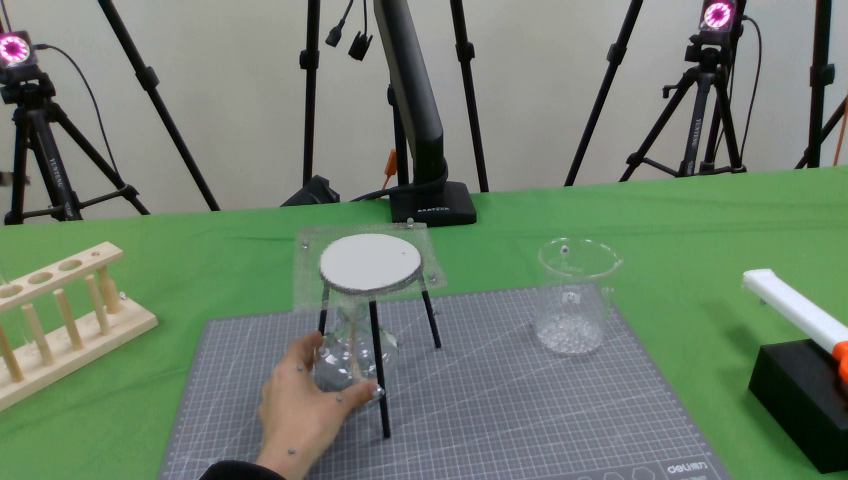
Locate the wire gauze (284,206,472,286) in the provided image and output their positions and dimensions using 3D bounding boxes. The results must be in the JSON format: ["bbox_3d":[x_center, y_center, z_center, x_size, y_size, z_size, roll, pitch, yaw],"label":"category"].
[{"bbox_3d":[-0.041,0.004,0.500,0.125,0.011,0.120,-9,27,-28],"label":"wire gauze"}]

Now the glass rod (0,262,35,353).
[{"bbox_3d":[-0.391,0.030,0.557,0.008,0.201,0.008,3,32,-1],"label":"glass rod"}]

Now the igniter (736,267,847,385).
[{"bbox_3d":[0.359,0.096,0.508,0.057,0.025,0.274,-6,27,-7],"label":"igniter"}]

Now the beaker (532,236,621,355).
[{"bbox_3d":[0.147,0.056,0.601,0.084,0.101,0.073,-1,31,1],"label":"beaker"}]

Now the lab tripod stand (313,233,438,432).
[{"bbox_3d":[-0.044,0.074,0.546,0.148,0.132,0.147,0,31,0],"label":"lab tripod stand"}]

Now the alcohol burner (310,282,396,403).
[{"bbox_3d":[-0.064,0.087,0.544,0.078,0.120,0.077,1,30,0],"label":"alcohol burner"}]

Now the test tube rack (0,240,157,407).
[{"bbox_3d":[-0.394,0.094,0.580,0.066,0.086,0.242,21,37,33],"label":"test tube rack"}]
